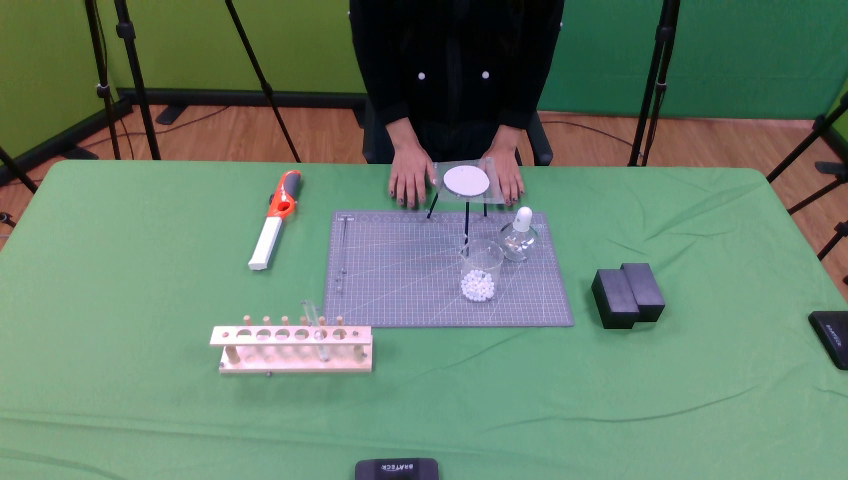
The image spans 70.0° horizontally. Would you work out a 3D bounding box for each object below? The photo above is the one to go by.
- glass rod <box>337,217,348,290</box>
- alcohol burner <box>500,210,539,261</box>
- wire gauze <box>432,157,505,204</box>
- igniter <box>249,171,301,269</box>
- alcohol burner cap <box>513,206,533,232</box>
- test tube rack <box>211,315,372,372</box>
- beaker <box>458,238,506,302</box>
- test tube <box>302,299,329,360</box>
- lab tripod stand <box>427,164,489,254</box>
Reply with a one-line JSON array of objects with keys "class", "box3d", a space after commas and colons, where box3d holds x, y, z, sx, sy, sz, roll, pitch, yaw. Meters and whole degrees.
[{"class": "glass rod", "box3d": [-0.158, 0.022, 1.171, 0.008, 0.008, 0.198, 1, 43, -2]}, {"class": "alcohol burner", "box3d": [0.185, -0.016, 1.159, 0.078, 0.119, 0.077, 2, 48, -2]}, {"class": "wire gauze", "box3d": [0.081, -0.112, 1.137, 0.125, 0.011, 0.120, -2, 48, -6]}, {"class": "igniter", "box3d": [-0.297, -0.049, 1.220, 0.057, 0.025, 0.275, -1, 45, 9]}, {"class": "alcohol burner cap", "box3d": [0.186, -0.042, 1.134, 0.034, 0.048, 0.033, 6, 41, -5]}, {"class": "test tube rack", "box3d": [-0.208, 0.164, 0.982, 0.242, 0.085, 0.066, 1, 46, -4]}, {"class": "beaker", "box3d": [0.099, 0.057, 1.093, 0.084, 0.101, 0.073, 6, 46, 3]}, {"class": "test tube", "box3d": [-0.167, 0.142, 0.937, 0.017, 0.151, 0.017, -2, 47, 2]}, {"class": "lab tripod stand", "box3d": [0.078, -0.068, 1.188, 0.148, 0.132, 0.147, 3, 47, -3]}]
